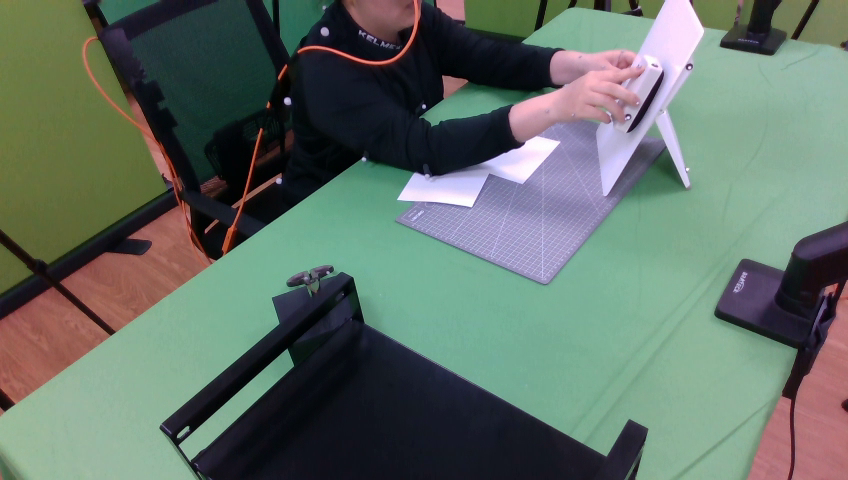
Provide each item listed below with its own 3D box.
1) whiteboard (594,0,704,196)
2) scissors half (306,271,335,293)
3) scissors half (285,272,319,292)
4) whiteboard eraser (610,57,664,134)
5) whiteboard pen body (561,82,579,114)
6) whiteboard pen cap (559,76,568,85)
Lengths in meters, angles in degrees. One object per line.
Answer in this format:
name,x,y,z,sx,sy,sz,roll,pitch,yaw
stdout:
whiteboard,0.421,-0.227,1.009,0.144,0.305,0.216,17,41,-3
scissors half,-0.152,0.061,0.872,0.040,0.013,0.175,-4,6,-4
scissors half,-0.172,0.063,0.868,0.040,0.013,0.174,-11,7,-21
whiteboard eraser,0.334,-0.224,0.946,0.042,0.112,0.055,20,36,-2
whiteboard pen body,0.311,-0.311,1.298,0.017,0.017,0.140,-6,41,3
whiteboard pen cap,0.310,-0.350,1.340,0.018,0.018,0.033,-6,40,2
